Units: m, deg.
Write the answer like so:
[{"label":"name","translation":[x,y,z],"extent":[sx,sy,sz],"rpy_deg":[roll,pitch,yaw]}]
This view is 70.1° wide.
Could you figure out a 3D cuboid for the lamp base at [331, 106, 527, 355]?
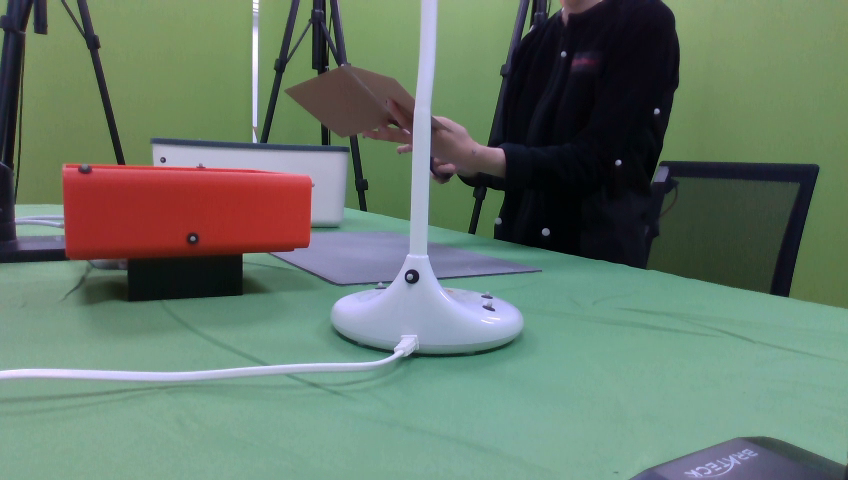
[{"label":"lamp base","translation":[0.006,-0.012,0.478],"extent":[0.161,0.180,0.179],"rpy_deg":[2,10,2]}]

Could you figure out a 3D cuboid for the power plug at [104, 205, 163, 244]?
[{"label":"power plug","translation":[-0.390,-0.021,0.815],"extent":[0.073,0.052,0.035],"rpy_deg":[-1,7,-27]}]

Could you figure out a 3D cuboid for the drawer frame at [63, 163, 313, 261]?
[{"label":"drawer frame","translation":[-0.248,-0.036,0.626],"extent":[0.215,0.082,0.200],"rpy_deg":[-3,9,-31]}]

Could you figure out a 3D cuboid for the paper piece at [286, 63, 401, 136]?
[{"label":"paper piece","translation":[-0.126,-0.215,0.952],"extent":[0.135,0.004,0.136],"rpy_deg":[-8,-32,38]}]

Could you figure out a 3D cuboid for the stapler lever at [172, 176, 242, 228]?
[{"label":"stapler lever","translation":[-0.217,-0.041,0.618],"extent":[0.027,0.040,0.118],"rpy_deg":[18,11,-2]}]

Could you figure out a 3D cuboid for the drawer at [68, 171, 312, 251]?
[{"label":"drawer","translation":[-0.247,-0.036,0.629],"extent":[0.213,0.073,0.193],"rpy_deg":[-2,9,-30]}]

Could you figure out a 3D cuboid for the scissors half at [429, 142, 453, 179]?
[{"label":"scissors half","translation":[-0.002,-0.162,0.993],"extent":[0.012,0.040,0.176],"rpy_deg":[12,-31,47]}]

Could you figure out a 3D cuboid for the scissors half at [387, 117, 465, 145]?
[{"label":"scissors half","translation":[0.006,-0.185,0.997],"extent":[0.176,0.040,0.013],"rpy_deg":[1,3,-44]}]

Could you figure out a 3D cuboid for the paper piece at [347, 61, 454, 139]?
[{"label":"paper piece","translation":[-0.036,-0.198,0.862],"extent":[0.139,0.008,0.135],"rpy_deg":[39,-3,-42]}]

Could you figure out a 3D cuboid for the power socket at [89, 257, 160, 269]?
[{"label":"power socket","translation":[-0.409,0.004,0.793],"extent":[0.072,0.032,0.225],"rpy_deg":[-2,8,-38]}]

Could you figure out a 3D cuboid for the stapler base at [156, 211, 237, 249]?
[{"label":"stapler base","translation":[-0.227,-0.017,0.624],"extent":[0.041,0.024,0.130],"rpy_deg":[18,10,-2]}]

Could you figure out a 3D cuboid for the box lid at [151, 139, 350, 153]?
[{"label":"box lid","translation":[-0.352,-0.191,1.256],"extent":[0.373,0.015,0.262],"rpy_deg":[0,8,-18]}]

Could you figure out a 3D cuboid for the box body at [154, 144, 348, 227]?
[{"label":"box body","translation":[-0.357,-0.119,1.264],"extent":[0.365,0.160,0.253],"rpy_deg":[0,7,-18]}]
